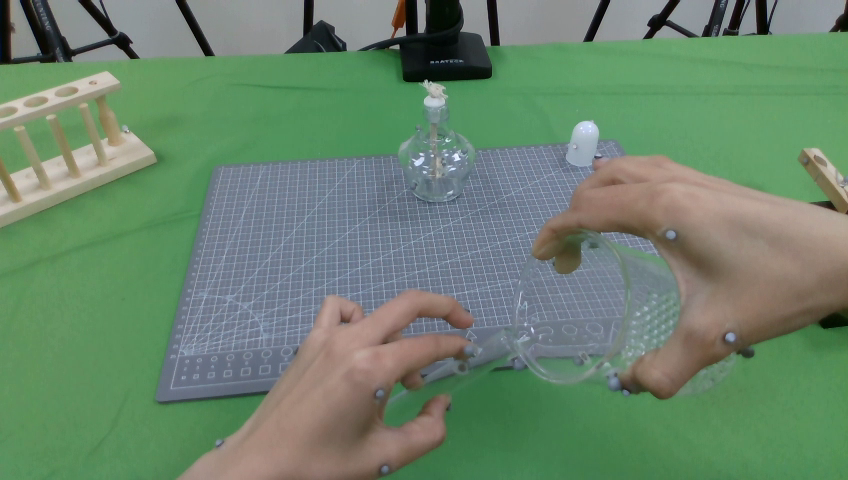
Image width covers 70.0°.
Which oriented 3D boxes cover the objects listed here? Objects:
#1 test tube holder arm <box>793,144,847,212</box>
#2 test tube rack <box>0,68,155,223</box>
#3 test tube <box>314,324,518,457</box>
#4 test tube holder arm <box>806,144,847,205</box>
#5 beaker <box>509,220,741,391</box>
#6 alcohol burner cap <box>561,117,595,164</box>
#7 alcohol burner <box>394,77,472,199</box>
[{"bbox_3d":[0.360,-0.057,0.548,0.010,0.015,0.087,-7,42,4],"label":"test tube holder arm"},{"bbox_3d":[-0.404,-0.080,0.589,0.242,0.086,0.066,-33,52,-31],"label":"test tube rack"},{"bbox_3d":[-0.010,0.089,0.345,0.150,0.017,0.017,-36,36,24],"label":"test tube"},{"bbox_3d":[0.368,-0.028,0.515,0.013,0.015,0.176,-8,42,3],"label":"test tube holder arm"},{"bbox_3d":[0.104,0.040,0.313,0.101,0.084,0.073,14,52,-31],"label":"beaker"},{"bbox_3d":[0.167,-0.110,0.653,0.034,0.048,0.033,0,42,0],"label":"alcohol burner cap"},{"bbox_3d":[0.008,-0.101,0.589,0.078,0.120,0.077,-1,41,1],"label":"alcohol burner"}]
